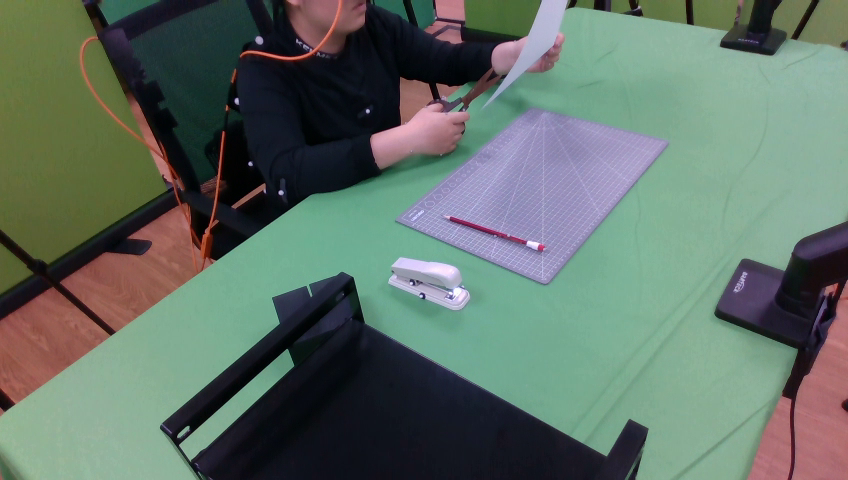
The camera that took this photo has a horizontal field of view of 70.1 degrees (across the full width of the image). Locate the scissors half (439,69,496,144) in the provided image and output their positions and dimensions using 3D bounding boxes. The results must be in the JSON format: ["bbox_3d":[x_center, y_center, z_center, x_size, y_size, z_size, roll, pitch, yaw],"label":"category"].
[{"bbox_3d":[0.087,-0.258,1.173,0.040,0.175,0.013,28,25,-14],"label":"scissors half"}]

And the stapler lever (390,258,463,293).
[{"bbox_3d":[0.003,0.046,0.881,0.117,0.040,0.027,17,44,29],"label":"stapler lever"}]

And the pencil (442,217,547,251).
[{"bbox_3d":[0.110,-0.012,0.979,0.192,0.012,0.012,18,46,30],"label":"pencil"}]

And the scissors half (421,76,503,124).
[{"bbox_3d":[0.072,-0.274,1.166,0.175,0.040,0.012,-23,22,14],"label":"scissors half"}]

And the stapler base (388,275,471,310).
[{"bbox_3d":[0.007,0.066,0.897,0.129,0.024,0.041,17,44,29],"label":"stapler base"}]
